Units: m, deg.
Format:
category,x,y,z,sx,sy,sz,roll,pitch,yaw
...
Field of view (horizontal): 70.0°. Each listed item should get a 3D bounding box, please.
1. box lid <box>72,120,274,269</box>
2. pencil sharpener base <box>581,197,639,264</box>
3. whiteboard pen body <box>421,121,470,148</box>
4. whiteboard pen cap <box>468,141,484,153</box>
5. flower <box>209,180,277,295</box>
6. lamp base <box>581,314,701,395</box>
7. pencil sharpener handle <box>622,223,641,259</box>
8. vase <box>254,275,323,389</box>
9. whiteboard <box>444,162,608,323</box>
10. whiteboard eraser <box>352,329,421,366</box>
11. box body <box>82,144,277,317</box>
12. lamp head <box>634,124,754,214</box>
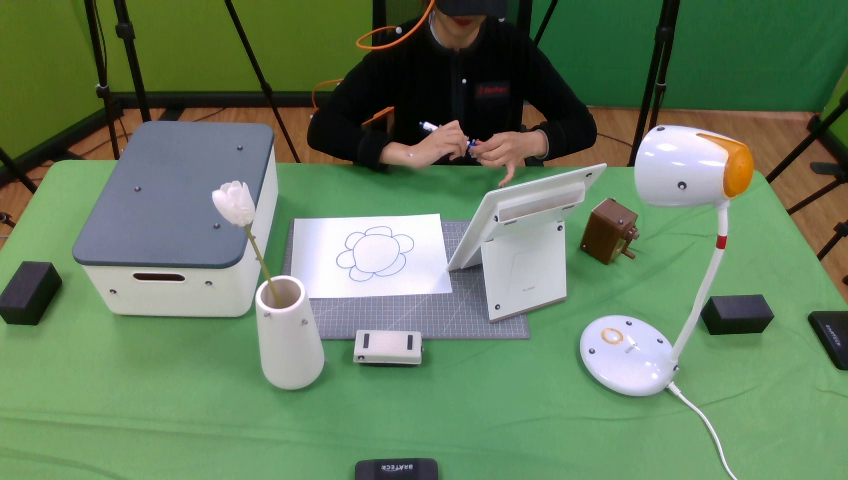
category,x,y,z,sx,sy,sz,roll,pitch,yaw
box lid,-0.417,-0.094,1.056,0.263,0.015,0.369,1,47,-3
pencil sharpener base,0.362,-0.017,1.179,0.076,0.107,0.061,37,54,27
whiteboard pen body,0.057,-0.225,1.314,0.140,0.017,0.017,27,50,11
whiteboard pen cap,0.111,-0.200,1.300,0.033,0.018,0.018,24,49,13
flower,-0.217,0.075,0.871,0.044,0.363,0.038,-29,36,-19
lamp base,0.361,0.144,0.973,0.178,0.181,0.160,34,53,23
pencil sharpener handle,0.397,0.002,1.146,0.030,0.068,0.036,37,46,27
vase,-0.209,0.143,0.921,0.098,0.201,0.097,1,46,-1
whiteboard,0.186,0.025,1.029,0.217,0.306,0.143,-14,68,-17
whiteboard eraser,-0.061,0.179,1.005,0.113,0.042,0.055,3,49,-3
box body,-0.421,-0.041,1.108,0.254,0.161,0.361,2,46,-3
lamp head,0.351,-0.089,0.776,0.112,0.113,0.122,-30,30,-28
